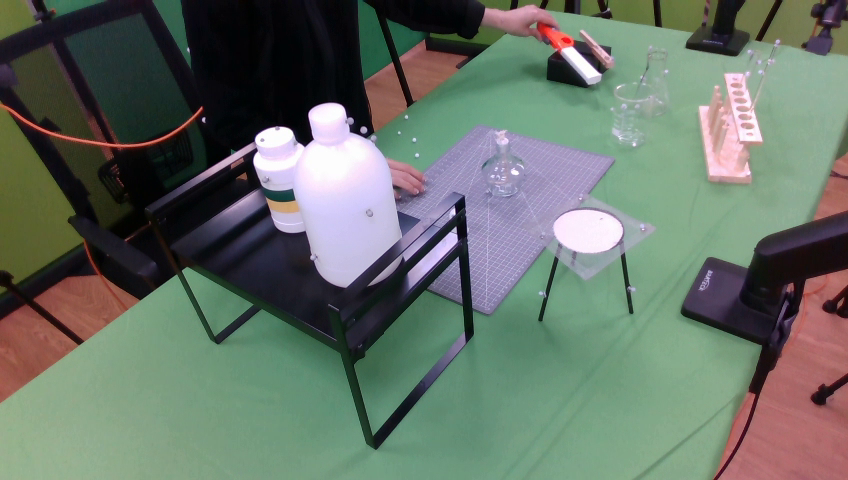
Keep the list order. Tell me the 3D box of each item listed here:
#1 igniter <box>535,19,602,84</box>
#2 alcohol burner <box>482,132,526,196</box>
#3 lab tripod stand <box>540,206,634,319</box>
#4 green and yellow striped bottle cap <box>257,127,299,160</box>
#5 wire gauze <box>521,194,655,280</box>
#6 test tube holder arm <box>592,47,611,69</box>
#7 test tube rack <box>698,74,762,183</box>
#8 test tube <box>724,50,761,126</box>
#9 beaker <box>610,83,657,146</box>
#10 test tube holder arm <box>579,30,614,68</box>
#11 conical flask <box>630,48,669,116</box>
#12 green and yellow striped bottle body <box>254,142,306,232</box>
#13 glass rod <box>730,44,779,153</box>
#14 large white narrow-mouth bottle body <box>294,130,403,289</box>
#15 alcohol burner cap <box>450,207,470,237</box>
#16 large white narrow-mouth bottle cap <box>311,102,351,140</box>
[{"bbox_3d":[0.315,-0.426,1.346,0.057,0.025,0.274,-15,47,-10],"label":"igniter"},{"bbox_3d":[0.137,-0.136,1.042,0.078,0.119,0.077,-4,43,4],"label":"alcohol burner"},{"bbox_3d":[0.218,0.034,0.821,0.148,0.132,0.147,-4,43,4],"label":"lab tripod stand"},{"bbox_3d":[-0.169,-0.112,0.698,0.045,0.020,0.045,-5,40,5],"label":"green and yellow striped bottle cap"},{"bbox_3d":[0.207,-0.012,0.772,0.122,0.011,0.124,-28,44,-20],"label":"wire gauze"},{"bbox_3d":[0.386,-0.398,1.317,0.010,0.015,0.087,-10,41,-2],"label":"test tube holder arm"},{"bbox_3d":[0.547,-0.208,1.095,0.066,0.085,0.242,5,42,15],"label":"test tube rack"},{"bbox_3d":[0.570,-0.269,1.086,0.017,0.151,0.017,-1,46,1],"label":"test tube"},{"bbox_3d":[0.388,-0.235,1.138,0.074,0.101,0.083,-31,46,-25],"label":"beaker"},{"bbox_3d":[0.384,-0.428,1.351,0.013,0.015,0.177,-11,41,-4],"label":"test tube holder arm"},{"bbox_3d":[0.456,-0.317,1.205,0.075,0.122,0.075,-4,41,4],"label":"conical flask"},{"bbox_3d":[-0.165,-0.073,0.732,0.063,0.120,0.063,-4,41,4],"label":"green and yellow striped bottle body"},{"bbox_3d":[0.555,-0.233,1.020,0.008,0.200,0.008,2,40,-1],"label":"glass rod"},{"bbox_3d":[-0.082,-0.047,0.634,0.102,0.195,0.101,-4,40,4],"label":"large white narrow-mouth bottle body"},{"bbox_3d":[0.057,-0.032,0.987,0.034,0.048,0.033,-5,41,5],"label":"alcohol burner cap"},{"bbox_3d":[-0.089,-0.114,0.579,0.038,0.024,0.037,-3,40,3],"label":"large white narrow-mouth bottle cap"}]
